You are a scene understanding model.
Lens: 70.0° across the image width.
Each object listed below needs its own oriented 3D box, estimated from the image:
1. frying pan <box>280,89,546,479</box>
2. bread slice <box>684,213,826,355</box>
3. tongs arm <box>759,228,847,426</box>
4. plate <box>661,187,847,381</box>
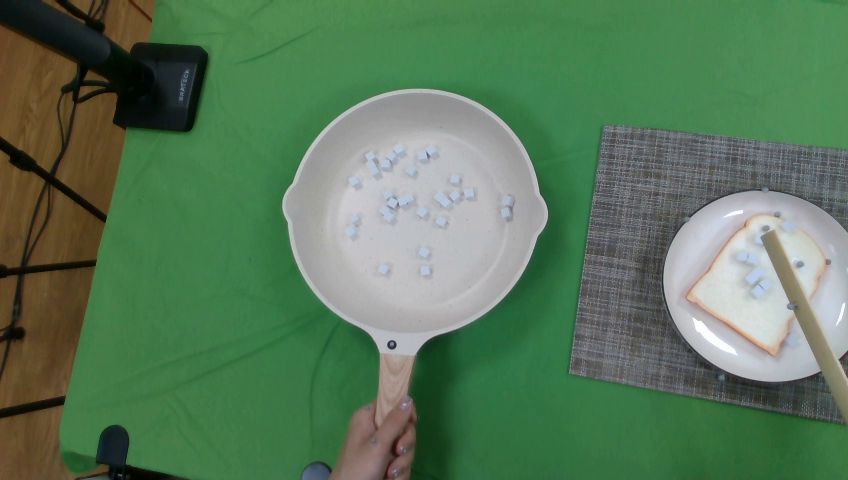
[{"bbox_3d":[-0.025,0.069,0.682,0.306,0.103,0.485,4,71,10],"label":"frying pan"},{"bbox_3d":[0.363,0.039,0.660,0.106,0.018,0.134,32,88,13],"label":"bread slice"},{"bbox_3d":[0.377,0.165,0.501,0.028,0.028,0.385,-19,75,-6],"label":"tongs arm"},{"bbox_3d":[0.364,0.047,0.656,0.207,0.039,0.207,-2,80,9],"label":"plate"}]
